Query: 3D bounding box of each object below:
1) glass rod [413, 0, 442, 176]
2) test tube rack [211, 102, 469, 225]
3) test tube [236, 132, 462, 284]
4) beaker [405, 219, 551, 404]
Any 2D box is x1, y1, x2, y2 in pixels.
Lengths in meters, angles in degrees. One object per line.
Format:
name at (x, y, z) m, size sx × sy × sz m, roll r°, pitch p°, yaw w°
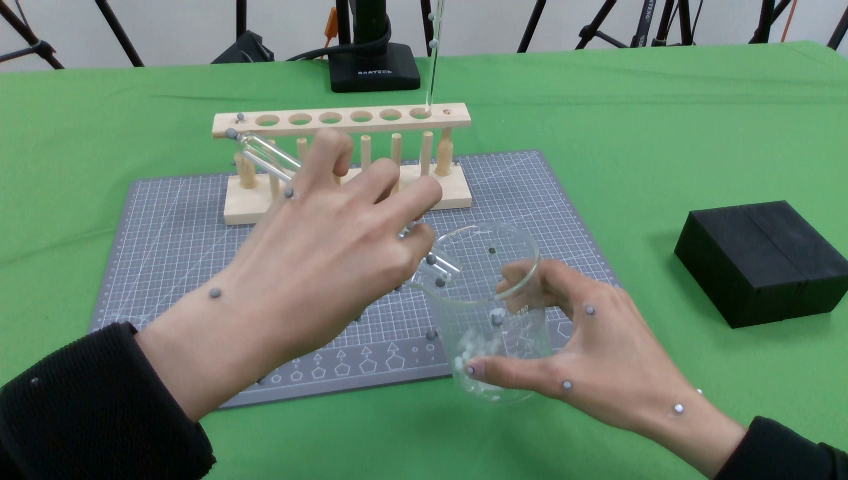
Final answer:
glass rod at (0.002, -0.141, 0.575) m, size 0.008 × 0.201 × 0.008 m, roll 5°, pitch 43°, yaw -4°
test tube rack at (-0.077, -0.077, 0.599) m, size 0.243 × 0.086 × 0.066 m, roll -5°, pitch 42°, yaw -9°
test tube at (-0.042, -0.019, 0.356) m, size 0.151 × 0.017 × 0.017 m, roll 32°, pitch 43°, yaw -9°
beaker at (0.039, 0.049, 0.386) m, size 0.084 × 0.101 × 0.073 m, roll -13°, pitch 36°, yaw 5°
